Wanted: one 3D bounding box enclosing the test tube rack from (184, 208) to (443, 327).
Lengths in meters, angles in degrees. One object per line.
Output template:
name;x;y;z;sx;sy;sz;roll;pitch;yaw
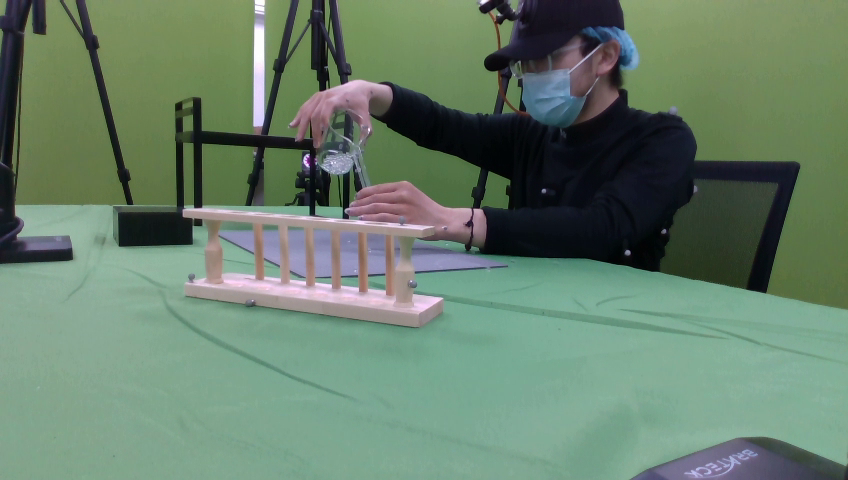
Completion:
test tube rack;-0.106;0.019;0.570;0.241;0.085;0.067;5;7;20

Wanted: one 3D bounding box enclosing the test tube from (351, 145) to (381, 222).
test tube;-0.095;-0.091;0.989;0.017;0.150;0.017;-15;-22;-6

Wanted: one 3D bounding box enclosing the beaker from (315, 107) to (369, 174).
beaker;-0.146;-0.169;1.060;0.074;0.083;0.100;-10;-30;-32
